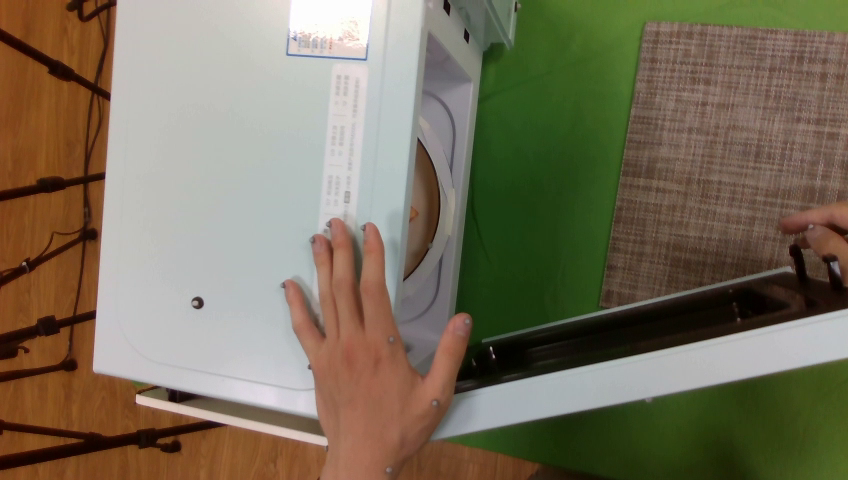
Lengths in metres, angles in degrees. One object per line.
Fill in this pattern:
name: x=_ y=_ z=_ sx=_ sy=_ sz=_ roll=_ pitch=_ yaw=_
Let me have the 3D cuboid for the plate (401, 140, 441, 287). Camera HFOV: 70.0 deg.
plate: x=-0.080 y=-0.033 z=0.646 sx=0.207 sy=0.039 sz=0.207 roll=0 pitch=92 yaw=15

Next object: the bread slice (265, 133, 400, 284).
bread slice: x=-0.100 y=-0.035 z=0.592 sx=0.105 sy=0.019 sz=0.131 roll=-36 pitch=85 yaw=18

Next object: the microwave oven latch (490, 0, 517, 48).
microwave oven latch: x=0.083 y=-0.246 z=0.638 sx=0.030 sy=0.029 sz=0.079 roll=7 pitch=95 yaw=15

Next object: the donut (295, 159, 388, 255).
donut: x=-0.084 y=-0.033 z=0.618 sx=0.099 sy=0.048 sz=0.099 roll=0 pitch=92 yaw=12

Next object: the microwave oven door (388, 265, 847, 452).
microwave oven door: x=0.169 y=0.094 z=0.523 sx=0.355 sy=0.244 sz=0.039 roll=-17 pitch=86 yaw=16

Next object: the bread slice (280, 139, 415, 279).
bread slice: x=-0.090 y=-0.038 z=0.639 sx=0.107 sy=0.018 sz=0.133 roll=-39 pitch=77 yaw=2

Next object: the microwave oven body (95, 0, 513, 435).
microwave oven body: x=-0.104 y=-0.085 z=0.597 sx=0.325 sy=0.261 sz=0.442 roll=7 pitch=94 yaw=15
